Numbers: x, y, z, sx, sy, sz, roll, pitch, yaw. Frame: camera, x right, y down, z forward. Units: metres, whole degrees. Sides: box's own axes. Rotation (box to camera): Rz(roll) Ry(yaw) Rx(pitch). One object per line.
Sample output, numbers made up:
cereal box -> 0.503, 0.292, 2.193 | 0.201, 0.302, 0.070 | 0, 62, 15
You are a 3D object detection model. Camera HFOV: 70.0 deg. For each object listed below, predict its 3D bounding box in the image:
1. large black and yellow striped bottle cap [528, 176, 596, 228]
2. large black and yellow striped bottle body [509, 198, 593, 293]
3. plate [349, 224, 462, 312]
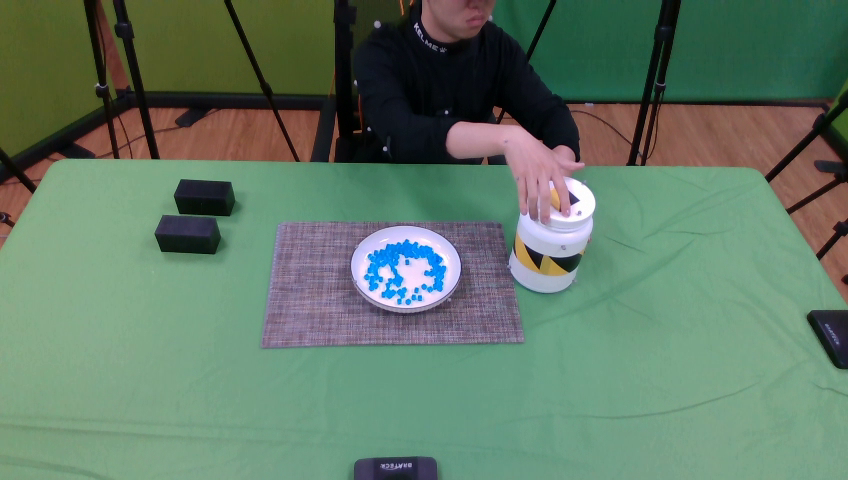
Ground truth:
large black and yellow striped bottle cap -> 0.237, -0.067, 1.042 | 0.115, 0.019, 0.114 | 2, 47, -2
large black and yellow striped bottle body -> 0.232, -0.007, 1.107 | 0.131, 0.185, 0.130 | 2, 46, -2
plate -> -0.035, 0.054, 1.126 | 0.208, 0.039, 0.206 | 2, 46, -2
